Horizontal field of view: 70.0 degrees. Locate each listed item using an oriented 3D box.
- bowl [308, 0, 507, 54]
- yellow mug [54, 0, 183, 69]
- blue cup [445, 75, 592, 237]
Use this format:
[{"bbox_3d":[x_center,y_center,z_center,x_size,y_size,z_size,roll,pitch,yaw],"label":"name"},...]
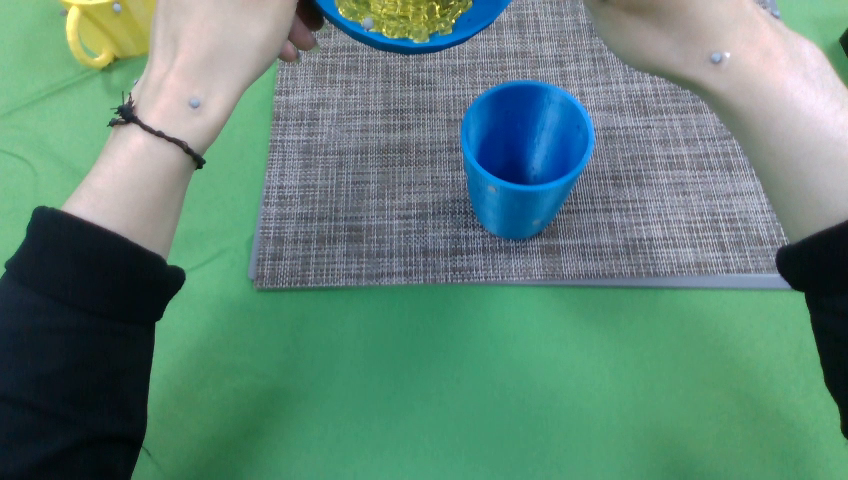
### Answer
[{"bbox_3d":[-0.016,-0.185,0.388,0.152,0.076,0.151,0,88,-10],"label":"bowl"},{"bbox_3d":[-0.280,-0.210,0.534,0.100,0.064,0.130,10,66,6],"label":"yellow mug"},{"bbox_3d":[0.066,-0.049,0.427,0.092,0.101,0.092,-1,65,3],"label":"blue cup"}]
